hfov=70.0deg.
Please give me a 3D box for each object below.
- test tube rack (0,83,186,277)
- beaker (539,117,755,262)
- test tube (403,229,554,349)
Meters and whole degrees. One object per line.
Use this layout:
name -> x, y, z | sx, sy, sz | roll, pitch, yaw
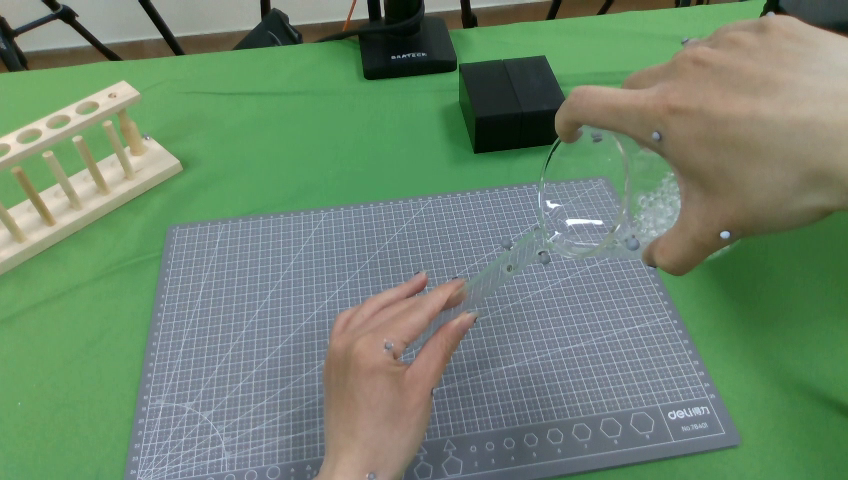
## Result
test tube rack -> -0.367, -0.052, 0.586 | 0.066, 0.086, 0.242 | 35, 58, 28
beaker -> 0.126, -0.022, 0.346 | 0.101, 0.084, 0.073 | 3, 51, -24
test tube -> 0.030, 0.037, 0.403 | 0.017, 0.150, 0.017 | 23, 46, -26
